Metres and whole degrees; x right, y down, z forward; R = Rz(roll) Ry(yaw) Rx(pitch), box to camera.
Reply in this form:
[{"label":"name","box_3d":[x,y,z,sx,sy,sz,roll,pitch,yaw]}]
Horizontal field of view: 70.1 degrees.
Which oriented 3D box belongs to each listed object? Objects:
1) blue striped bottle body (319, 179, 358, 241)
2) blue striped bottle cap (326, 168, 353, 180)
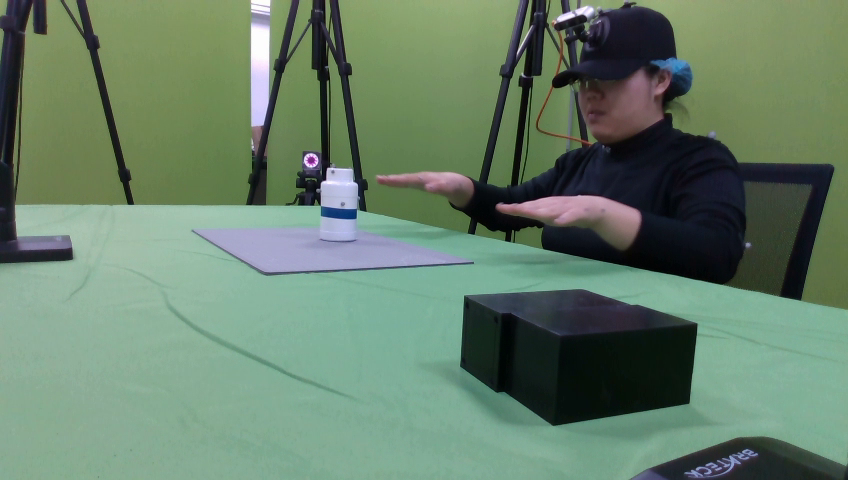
[{"label":"blue striped bottle body","box_3d":[-0.143,-0.061,1.018,0.063,0.120,0.063,2,7,0]},{"label":"blue striped bottle cap","box_3d":[-0.141,-0.111,1.011,0.044,0.020,0.044,2,6,0]}]
